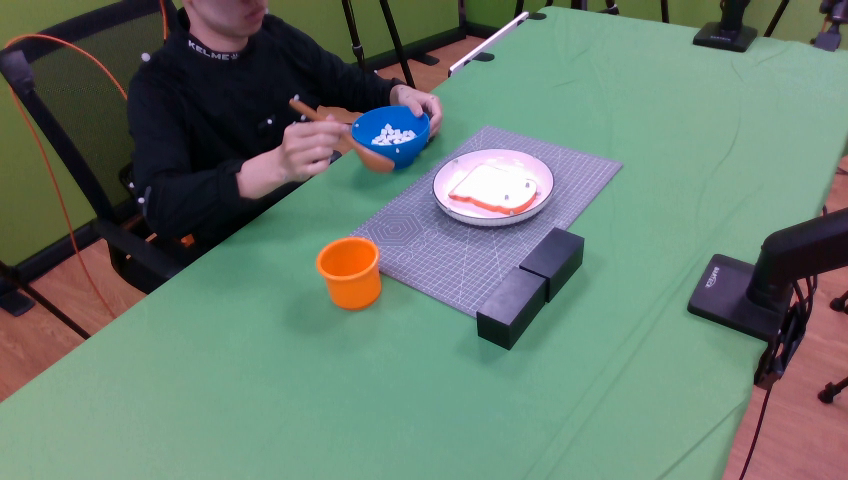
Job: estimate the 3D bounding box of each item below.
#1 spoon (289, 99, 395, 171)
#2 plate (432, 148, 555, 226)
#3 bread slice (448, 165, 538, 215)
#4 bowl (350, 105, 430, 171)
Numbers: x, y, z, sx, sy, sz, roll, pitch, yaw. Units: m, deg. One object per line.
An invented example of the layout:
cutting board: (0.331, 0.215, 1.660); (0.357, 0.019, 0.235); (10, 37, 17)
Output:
spoon: (-0.118, -0.152, 0.890); (0.041, 0.195, 0.021); (-23, 46, 39)
plate: (0.119, -0.087, 1.037); (0.209, 0.038, 0.208); (-4, 40, 4)
bread slice: (0.126, -0.085, 1.038); (0.133, 0.018, 0.107); (16, 45, 27)
bowl: (-0.060, -0.186, 1.151); (0.151, 0.077, 0.150); (-4, 41, 4)
